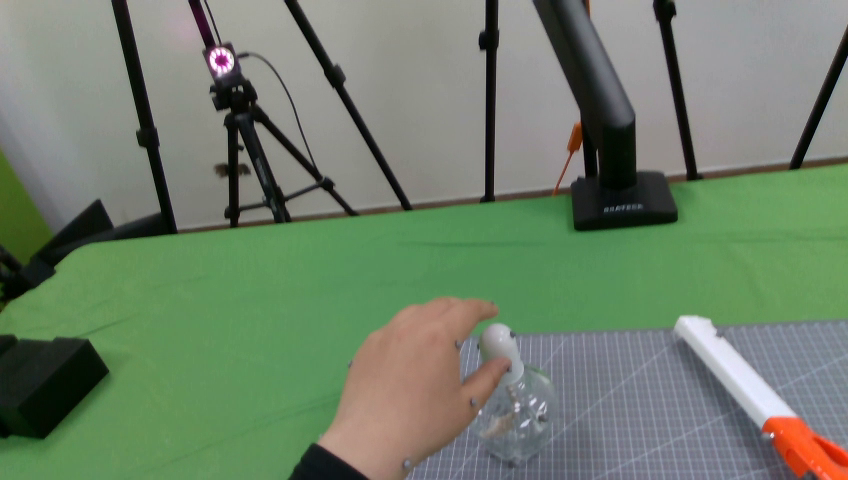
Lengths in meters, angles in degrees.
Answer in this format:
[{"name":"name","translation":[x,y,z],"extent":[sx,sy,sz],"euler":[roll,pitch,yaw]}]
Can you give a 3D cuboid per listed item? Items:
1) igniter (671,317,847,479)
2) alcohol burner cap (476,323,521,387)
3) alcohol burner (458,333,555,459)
[{"name":"igniter","translation":[0.261,0.140,0.431],"extent":[0.057,0.025,0.274],"euler":[5,26,-13]},{"name":"alcohol burner cap","translation":[0.055,0.083,0.455],"extent":[0.034,0.048,0.033],"euler":[-8,34,6]},{"name":"alcohol burner","translation":[0.062,0.114,0.473],"extent":[0.078,0.120,0.077],"euler":[-8,33,6]}]
